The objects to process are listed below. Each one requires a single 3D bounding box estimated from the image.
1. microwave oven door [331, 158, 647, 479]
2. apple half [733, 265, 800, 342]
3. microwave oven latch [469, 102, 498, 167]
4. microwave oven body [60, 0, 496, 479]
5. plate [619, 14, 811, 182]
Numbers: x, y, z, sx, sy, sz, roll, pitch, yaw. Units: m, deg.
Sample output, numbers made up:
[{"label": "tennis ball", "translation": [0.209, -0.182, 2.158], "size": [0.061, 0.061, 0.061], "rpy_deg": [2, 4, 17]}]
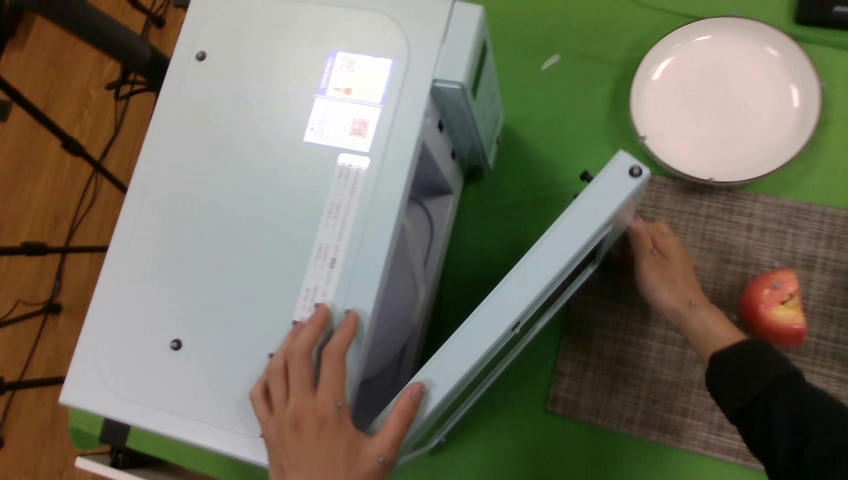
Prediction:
[{"label": "microwave oven door", "translation": [0.075, 0.093, 0.596], "size": [0.039, 0.245, 0.355], "rpy_deg": [42, 89, 18]}, {"label": "apple half", "translation": [0.358, 0.069, 0.643], "size": [0.053, 0.075, 0.080], "rpy_deg": [-7, 80, 15]}, {"label": "microwave oven latch", "translation": [0.073, -0.132, 0.751], "size": [0.030, 0.030, 0.079], "rpy_deg": [12, 81, 14]}, {"label": "microwave oven body", "translation": [-0.130, -0.011, 0.667], "size": [0.325, 0.262, 0.440], "rpy_deg": [11, 81, 14]}, {"label": "plate", "translation": [0.338, -0.165, 0.720], "size": [0.207, 0.039, 0.206], "rpy_deg": [-2, 78, 11]}]
